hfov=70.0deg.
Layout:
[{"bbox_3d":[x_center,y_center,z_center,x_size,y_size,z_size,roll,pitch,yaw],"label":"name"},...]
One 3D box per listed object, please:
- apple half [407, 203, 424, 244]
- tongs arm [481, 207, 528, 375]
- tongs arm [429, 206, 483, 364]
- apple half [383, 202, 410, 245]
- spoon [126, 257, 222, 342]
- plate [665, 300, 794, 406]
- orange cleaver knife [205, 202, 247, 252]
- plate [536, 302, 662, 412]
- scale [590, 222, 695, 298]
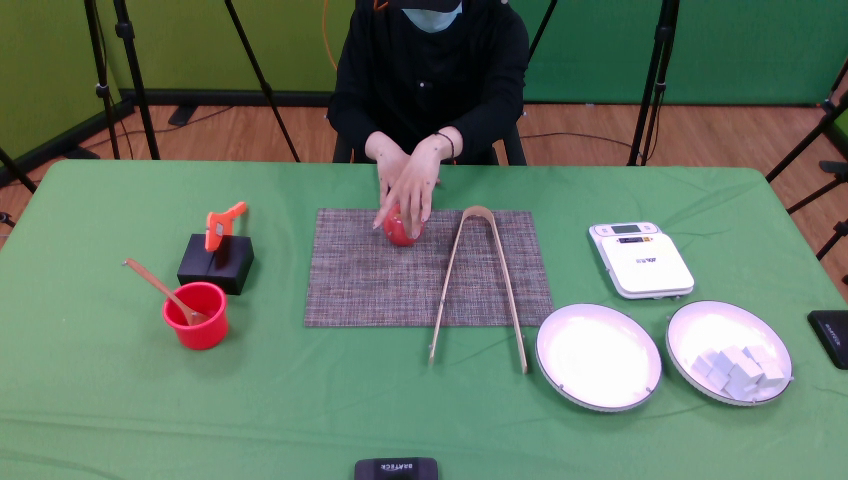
[{"bbox_3d":[-0.016,-0.029,1.182,0.033,0.082,0.081,5,46,3],"label":"apple half"},{"bbox_3d":[0.149,0.078,1.124,0.028,0.028,0.385,-4,46,-2],"label":"tongs arm"},{"bbox_3d":[0.065,0.069,1.124,0.051,0.026,0.382,8,45,5],"label":"tongs arm"},{"bbox_3d":[-0.054,-0.032,1.183,0.053,0.075,0.080,4,49,4],"label":"apple half"},{"bbox_3d":[-0.408,0.096,0.990,0.194,0.021,0.041,50,53,-18],"label":"spoon"},{"bbox_3d":[0.513,0.194,1.034,0.208,0.039,0.206,2,46,-2],"label":"plate"},{"bbox_3d":[-0.374,-0.029,1.149,0.012,0.077,0.211,4,13,0],"label":"orange cleaver knife"},{"bbox_3d":[0.288,0.197,1.016,0.209,0.038,0.208,2,46,-2],"label":"plate"},{"bbox_3d":[0.424,0.031,1.189,0.149,0.032,0.199,-3,46,-7],"label":"scale"}]
